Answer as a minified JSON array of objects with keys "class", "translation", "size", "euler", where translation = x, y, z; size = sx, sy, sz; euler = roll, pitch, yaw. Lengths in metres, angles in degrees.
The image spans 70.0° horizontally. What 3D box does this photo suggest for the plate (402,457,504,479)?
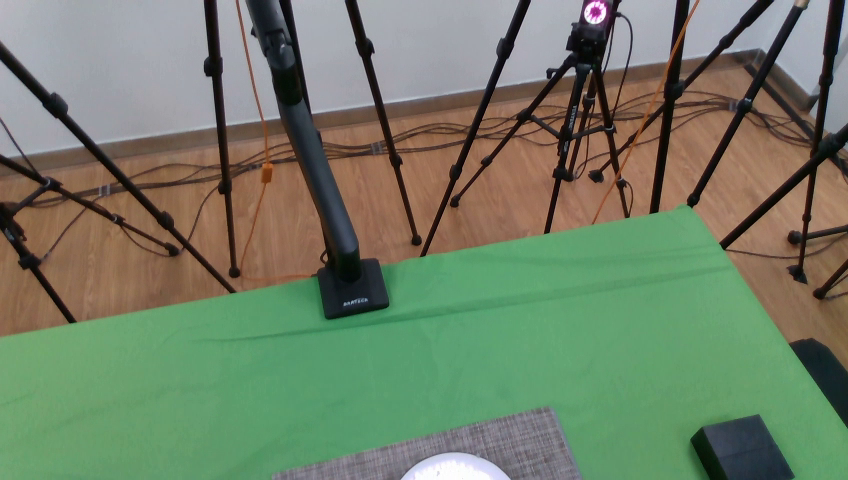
[{"class":"plate","translation":[0.043,0.415,0.855],"size":[0.209,0.038,0.207],"euler":[1,50,-1]}]
